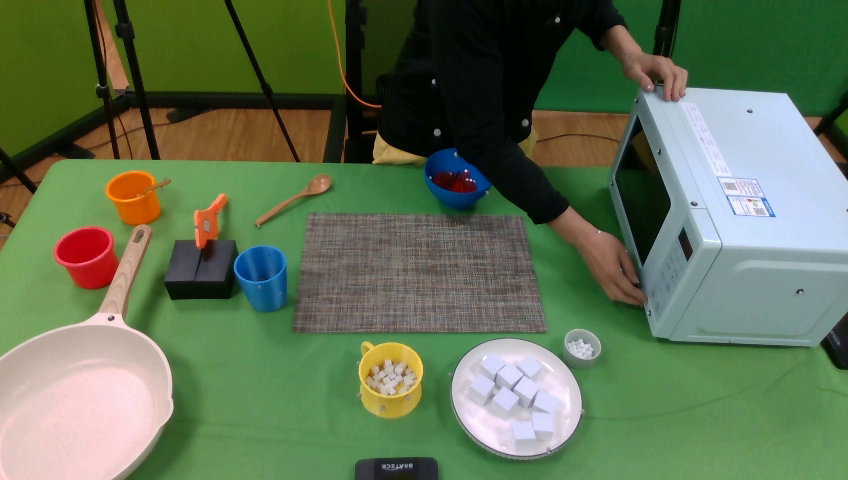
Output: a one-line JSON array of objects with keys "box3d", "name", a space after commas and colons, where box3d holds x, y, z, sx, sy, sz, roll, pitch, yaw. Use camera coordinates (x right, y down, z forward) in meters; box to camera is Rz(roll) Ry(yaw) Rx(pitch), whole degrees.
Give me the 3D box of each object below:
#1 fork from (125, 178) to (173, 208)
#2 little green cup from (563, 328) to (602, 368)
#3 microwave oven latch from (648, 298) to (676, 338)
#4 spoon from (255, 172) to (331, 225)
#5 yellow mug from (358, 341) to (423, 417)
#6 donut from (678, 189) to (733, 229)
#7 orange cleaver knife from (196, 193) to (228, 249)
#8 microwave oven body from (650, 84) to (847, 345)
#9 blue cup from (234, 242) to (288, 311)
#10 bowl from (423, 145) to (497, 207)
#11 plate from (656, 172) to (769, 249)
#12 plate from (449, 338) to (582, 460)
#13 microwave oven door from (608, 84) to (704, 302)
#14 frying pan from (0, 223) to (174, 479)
[{"box3d": [-0.525, -0.090, 1.154, 0.207, 0.019, 0.028, -17, 27, 45], "name": "fork"}, {"box3d": [0.266, 0.184, 1.025, 0.061, 0.039, 0.061, 2, 45, -2], "name": "little green cup"}, {"box3d": [0.414, 0.133, 1.060, 0.030, 0.029, 0.078, 5, 46, 2], "name": "microwave oven latch"}, {"box3d": [-0.272, -0.087, 1.257, 0.041, 0.022, 0.193, 45, 57, 13], "name": "spoon"}, {"box3d": [-0.062, 0.209, 0.961, 0.100, 0.064, 0.130, -29, 54, -27], "name": "yellow mug"}, {"box3d": [0.544, -0.062, 1.174, 0.099, 0.048, 0.098, 1, 42, -1], "name": "donut"}, {"box3d": [-0.406, -0.041, 1.163, 0.012, 0.077, 0.210, -1, 18, -3], "name": "orange cleaver knife"}, {"box3d": [0.569, -0.054, 1.116, 0.326, 0.261, 0.439, 2, 46, -1], "name": "microwave oven body"}, {"box3d": [-0.275, 0.071, 1.052, 0.092, 0.101, 0.092, 1, 48, 0], "name": "blue cup"}, {"box3d": [0.073, -0.123, 1.278, 0.151, 0.077, 0.150, 2, 46, -2], "name": "bowl"}, {"box3d": [0.558, -0.054, 1.185, 0.209, 0.038, 0.208, 1, 44, -1], "name": "plate"}, {"box3d": [0.141, 0.251, 0.956, 0.208, 0.039, 0.206, 2, 47, -2], "name": "plate"}, {"box3d": [0.424, -0.096, 1.138, 0.039, 0.245, 0.353, 2, 46, -1], "name": "microwave oven door"}, {"box3d": [-0.504, 0.169, 0.941, 0.307, 0.103, 0.485, 5, 54, -1], "name": "frying pan"}]
